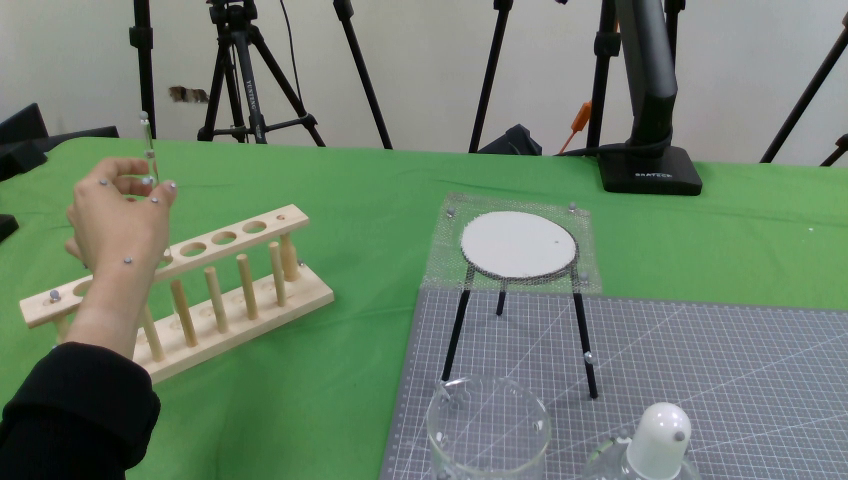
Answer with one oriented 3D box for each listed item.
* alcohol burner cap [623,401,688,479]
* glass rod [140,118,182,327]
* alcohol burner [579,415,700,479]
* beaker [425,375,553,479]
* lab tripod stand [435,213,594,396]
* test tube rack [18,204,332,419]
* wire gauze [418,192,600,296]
[{"bbox_3d":[0.138,0.115,0.356,0.034,0.048,0.033,1,37,-1],"label":"alcohol burner cap"},{"bbox_3d":[-0.223,-0.007,0.519,0.008,0.201,0.008,3,29,-1],"label":"glass rod"},{"bbox_3d":[0.138,0.145,0.377,0.078,0.120,0.077,0,37,1],"label":"alcohol burner"},{"bbox_3d":[0.037,0.147,0.390,0.074,0.101,0.083,-25,41,-31],"label":"beaker"},{"bbox_3d":[0.075,0.056,0.491,0.148,0.132,0.147,1,34,0],"label":"lab tripod stand"},{"bbox_3d":[-0.209,0.055,0.547,0.243,0.086,0.066,-24,40,-30],"label":"test tube rack"},{"bbox_3d":[0.065,0.001,0.452,0.121,0.011,0.124,5,36,7],"label":"wire gauze"}]
